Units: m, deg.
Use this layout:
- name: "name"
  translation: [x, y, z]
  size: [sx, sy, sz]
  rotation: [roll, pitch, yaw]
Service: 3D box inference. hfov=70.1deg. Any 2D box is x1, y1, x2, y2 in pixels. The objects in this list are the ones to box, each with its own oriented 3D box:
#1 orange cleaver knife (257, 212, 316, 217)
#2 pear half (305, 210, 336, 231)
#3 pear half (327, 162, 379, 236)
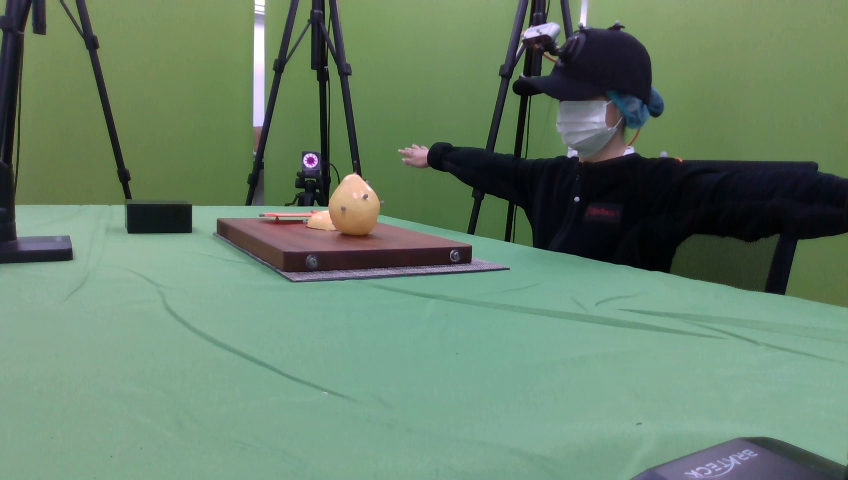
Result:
- name: "orange cleaver knife"
  translation: [-0.209, -0.044, 1.088]
  size: [0.077, 0.012, 0.212]
  rotation: [3, 3, 31]
- name: "pear half"
  translation: [-0.156, -0.032, 0.976]
  size: [0.071, 0.031, 0.087]
  rotation: [-7, 7, -23]
- name: "pear half"
  translation: [-0.099, -0.060, 0.889]
  size: [0.077, 0.110, 0.055]
  rotation: [-7, 12, -35]
